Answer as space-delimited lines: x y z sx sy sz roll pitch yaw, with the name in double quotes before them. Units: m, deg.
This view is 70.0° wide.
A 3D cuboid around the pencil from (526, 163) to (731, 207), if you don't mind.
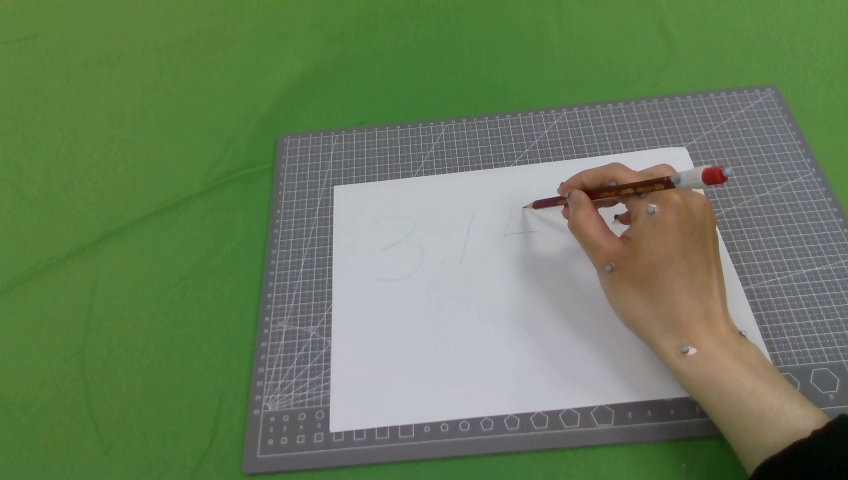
"pencil" 0.117 -0.032 0.395 0.012 0.193 0.012 1 88 -21
